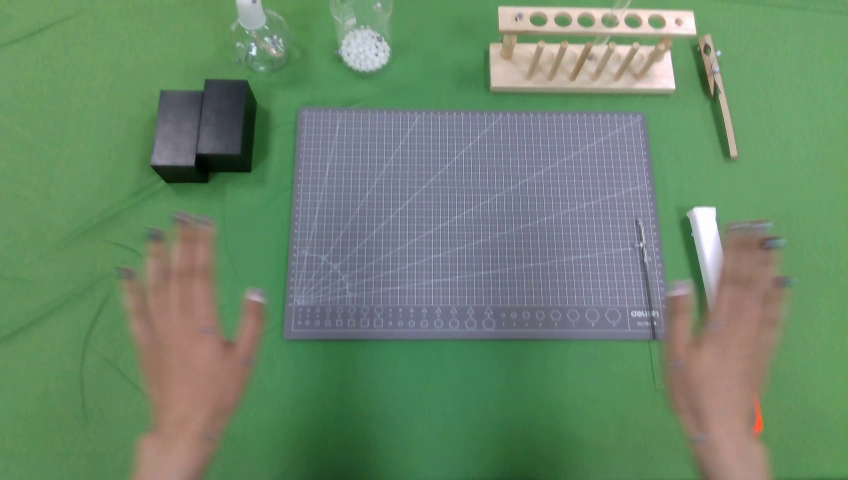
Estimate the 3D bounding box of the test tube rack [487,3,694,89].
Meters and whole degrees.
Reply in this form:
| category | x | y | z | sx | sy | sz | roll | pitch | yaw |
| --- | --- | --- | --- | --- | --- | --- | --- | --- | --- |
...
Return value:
| category | x | y | z | sx | sy | sz | roll | pitch | yaw |
| --- | --- | --- | --- | --- | --- | --- | --- | --- | --- |
| test tube rack | 0.207 | -0.245 | 0.771 | 0.242 | 0.085 | 0.066 | 0 | 73 | -2 |

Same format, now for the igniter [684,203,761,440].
| category | x | y | z | sx | sy | sz | roll | pitch | yaw |
| --- | --- | --- | --- | --- | --- | --- | --- | --- | --- |
| igniter | 0.347 | 0.088 | 0.706 | 0.057 | 0.025 | 0.275 | 0 | 73 | -13 |

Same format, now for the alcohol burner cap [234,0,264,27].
| category | x | y | z | sx | sy | sz | roll | pitch | yaw |
| --- | --- | --- | --- | --- | --- | --- | --- | --- | --- |
| alcohol burner cap | -0.207 | -0.279 | 0.712 | 0.034 | 0.048 | 0.033 | 3 | 66 | -6 |

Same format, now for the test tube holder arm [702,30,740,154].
| category | x | y | z | sx | sy | sz | roll | pitch | yaw |
| --- | --- | --- | --- | --- | --- | --- | --- | --- | --- |
| test tube holder arm | 0.390 | -0.197 | 0.798 | 0.013 | 0.015 | 0.177 | -17 | 71 | 30 |

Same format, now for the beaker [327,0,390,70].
| category | x | y | z | sx | sy | sz | roll | pitch | yaw |
| --- | --- | --- | --- | --- | --- | --- | --- | --- | --- |
| beaker | -0.077 | -0.270 | 0.760 | 0.074 | 0.101 | 0.084 | 38 | 75 | 9 |

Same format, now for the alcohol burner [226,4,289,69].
| category | x | y | z | sx | sy | sz | roll | pitch | yaw |
| --- | --- | --- | --- | --- | --- | --- | --- | --- | --- |
| alcohol burner | -0.209 | -0.266 | 0.746 | 0.078 | 0.120 | 0.077 | 0 | 71 | 0 |

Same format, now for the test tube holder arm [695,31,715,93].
| category | x | y | z | sx | sy | sz | roll | pitch | yaw |
| --- | --- | --- | --- | --- | --- | --- | --- | --- | --- |
| test tube holder arm | 0.379 | -0.239 | 0.813 | 0.010 | 0.015 | 0.087 | -17 | 72 | 30 |

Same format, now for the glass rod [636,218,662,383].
| category | x | y | z | sx | sy | sz | roll | pitch | yaw |
| --- | --- | --- | --- | --- | --- | --- | --- | --- | --- |
| glass rod | 0.265 | 0.067 | 0.716 | 0.008 | 0.008 | 0.198 | 0 | 73 | -3 |

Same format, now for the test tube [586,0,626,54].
| category | x | y | z | sx | sy | sz | roll | pitch | yaw |
| --- | --- | --- | --- | --- | --- | --- | --- | --- | --- |
| test tube | 0.227 | -0.277 | 0.730 | 0.017 | 0.151 | 0.017 | 2 | 69 | -6 |
